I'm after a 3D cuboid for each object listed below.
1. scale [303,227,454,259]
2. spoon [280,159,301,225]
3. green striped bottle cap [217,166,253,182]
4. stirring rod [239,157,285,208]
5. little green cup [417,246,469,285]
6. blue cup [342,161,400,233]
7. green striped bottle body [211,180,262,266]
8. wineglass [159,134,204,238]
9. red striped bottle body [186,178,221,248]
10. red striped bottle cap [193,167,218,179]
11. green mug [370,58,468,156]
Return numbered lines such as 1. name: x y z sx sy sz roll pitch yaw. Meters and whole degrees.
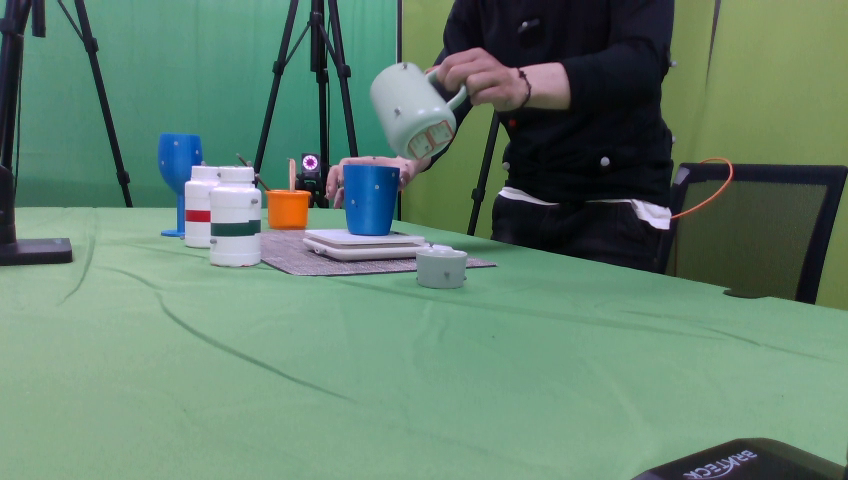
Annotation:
1. scale: -0.066 0.001 0.906 0.202 0.031 0.148 -2 8 -31
2. spoon: -0.273 -0.102 1.252 0.042 0.193 0.021 7 -38 -17
3. green striped bottle cap: -0.242 -0.085 0.776 0.044 0.020 0.044 2 8 0
4. stirring rod: -0.309 -0.098 1.209 0.006 0.177 0.014 -38 29 -3
5. little green cup: 0.021 0.029 0.701 0.061 0.038 0.061 1 6 0
6. blue cup: -0.078 -0.061 0.885 0.093 0.100 0.092 2 4 0
7. green striped bottle body: -0.243 -0.029 0.784 0.063 0.119 0.063 2 7 0
8. wineglass: -0.415 -0.093 1.040 0.074 0.172 0.073 2 7 0
9. red striped bottle body: -0.331 -0.050 0.927 0.063 0.119 0.063 2 7 0
10. red striped bottle cap: -0.329 -0.103 0.921 0.044 0.017 0.044 -1 9 0
11. green mug: -0.001 -0.181 0.790 0.125 0.104 0.093 -31 -25 7
